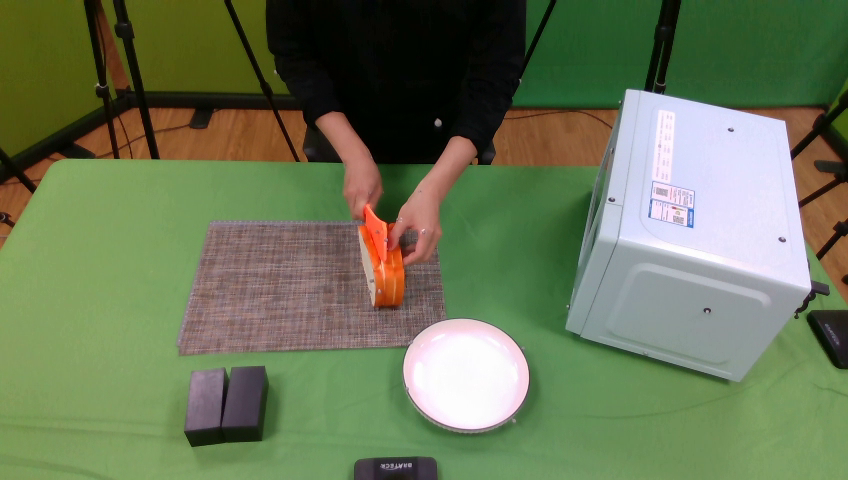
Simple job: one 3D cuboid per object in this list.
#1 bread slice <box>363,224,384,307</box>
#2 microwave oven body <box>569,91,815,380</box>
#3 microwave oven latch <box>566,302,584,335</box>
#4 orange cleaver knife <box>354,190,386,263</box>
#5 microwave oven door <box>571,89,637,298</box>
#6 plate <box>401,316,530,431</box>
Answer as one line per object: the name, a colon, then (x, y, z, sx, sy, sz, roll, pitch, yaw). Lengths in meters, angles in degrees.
bread slice: (-0.092, 0.050, 1.078, 0.018, 0.107, 0.133, -7, 46, -11)
microwave oven body: (0.468, -0.022, 1.082, 0.325, 0.261, 0.440, 15, 46, 11)
microwave oven latch: (0.268, 0.126, 1.059, 0.030, 0.029, 0.079, 16, 46, 12)
orange cleaver knife: (-0.099, -0.029, 1.094, 0.012, 0.077, 0.210, -2, 26, -20)
microwave oven door: (0.343, -0.091, 1.133, 0.039, 0.245, 0.354, 15, 47, 10)
plate: (0.066, 0.217, 0.982, 0.208, 0.039, 0.206, 2, 46, -2)
